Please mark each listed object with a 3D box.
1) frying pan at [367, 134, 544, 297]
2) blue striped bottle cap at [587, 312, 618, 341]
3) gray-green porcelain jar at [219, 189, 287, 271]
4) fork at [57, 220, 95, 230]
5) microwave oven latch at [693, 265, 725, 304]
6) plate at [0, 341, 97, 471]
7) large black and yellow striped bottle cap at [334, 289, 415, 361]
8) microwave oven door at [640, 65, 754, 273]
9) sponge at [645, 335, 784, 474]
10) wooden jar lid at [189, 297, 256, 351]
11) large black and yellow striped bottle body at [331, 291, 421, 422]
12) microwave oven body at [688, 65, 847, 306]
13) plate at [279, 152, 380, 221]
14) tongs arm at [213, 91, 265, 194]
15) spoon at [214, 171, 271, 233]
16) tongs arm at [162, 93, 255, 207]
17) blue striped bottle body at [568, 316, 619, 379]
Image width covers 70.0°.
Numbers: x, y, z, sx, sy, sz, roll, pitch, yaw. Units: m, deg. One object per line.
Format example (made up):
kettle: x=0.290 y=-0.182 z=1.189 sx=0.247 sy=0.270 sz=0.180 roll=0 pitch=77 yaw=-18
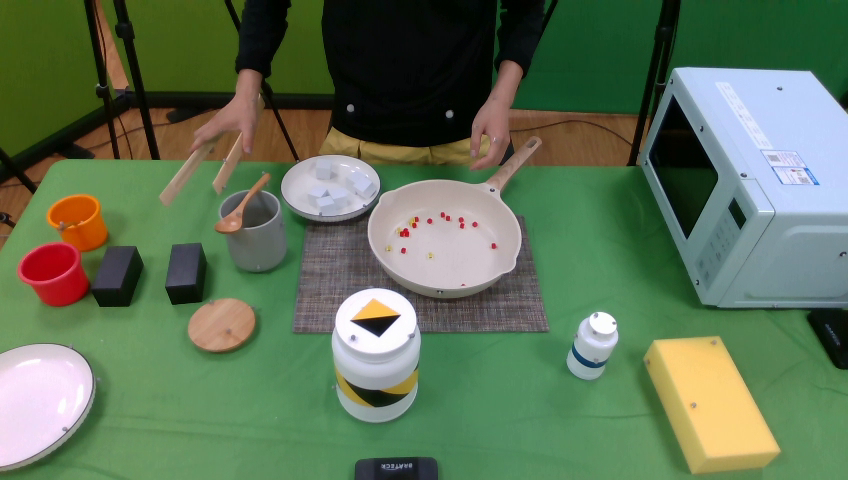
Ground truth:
frying pan: x=0.104 y=-0.069 z=1.205 sx=0.305 sy=0.103 sz=0.487 roll=32 pitch=61 yaw=23
blue striped bottle cap: x=0.279 y=0.134 z=0.947 sx=0.044 sy=0.021 sz=0.044 roll=2 pitch=45 yaw=-2
gray-green porcelain jar: x=-0.310 y=-0.014 z=1.114 sx=0.106 sy=0.127 sz=0.105 roll=2 pitch=46 yaw=-2
fork: x=-0.624 y=-0.027 z=1.086 sx=0.028 sy=0.207 sz=0.018 roll=-2 pitch=91 yaw=-17
microwave oven latch: x=0.523 y=0.081 z=1.116 sx=0.030 sy=0.029 sz=0.078 roll=2 pitch=46 yaw=-1
plate: x=-0.599 y=0.247 z=0.904 sx=0.209 sy=0.038 sz=0.208 roll=2 pitch=47 yaw=-2
large black and yellow striped bottle cap: x=-0.069 y=0.117 z=0.850 sx=0.115 sy=0.019 sz=0.114 roll=2 pitch=45 yaw=-2
microwave oven door: x=0.523 y=-0.147 z=1.193 sx=0.039 sy=0.245 sz=0.353 roll=0 pitch=47 yaw=-3
sponge: x=0.449 y=0.253 z=0.956 sx=0.118 sy=0.061 sz=0.205 roll=-4 pitch=46 yaw=-7
wooden jar lid: x=-0.342 y=0.145 z=1.033 sx=0.108 sy=0.021 sz=0.107 roll=2 pitch=45 yaw=-2
large black and yellow striped bottle body: x=-0.071 y=0.175 z=0.911 sx=0.131 sy=0.185 sz=0.130 roll=2 pitch=47 yaw=-2
microwave oven body: x=0.669 y=-0.111 z=1.176 sx=0.326 sy=0.261 sz=0.439 roll=0 pitch=46 yaw=-3
plate: x=-0.196 y=-0.107 z=1.269 sx=0.208 sy=0.039 sz=0.206 roll=2 pitch=45 yaw=-2
tongs arm: x=-0.382 y=-0.210 z=1.241 sx=0.051 sy=0.027 sz=0.382 roll=-14 pitch=38 yaw=16
spoon: x=-0.312 y=-0.070 z=1.070 sx=0.041 sy=0.022 sz=0.193 roll=8 pitch=43 yaw=11
tongs arm: x=-0.441 y=-0.197 z=1.258 sx=0.028 sy=0.028 sz=0.385 roll=-12 pitch=38 yaw=24
blue striped bottle body: x=0.276 y=0.168 z=0.984 sx=0.063 sy=0.121 sz=0.062 roll=2 pitch=46 yaw=-2
